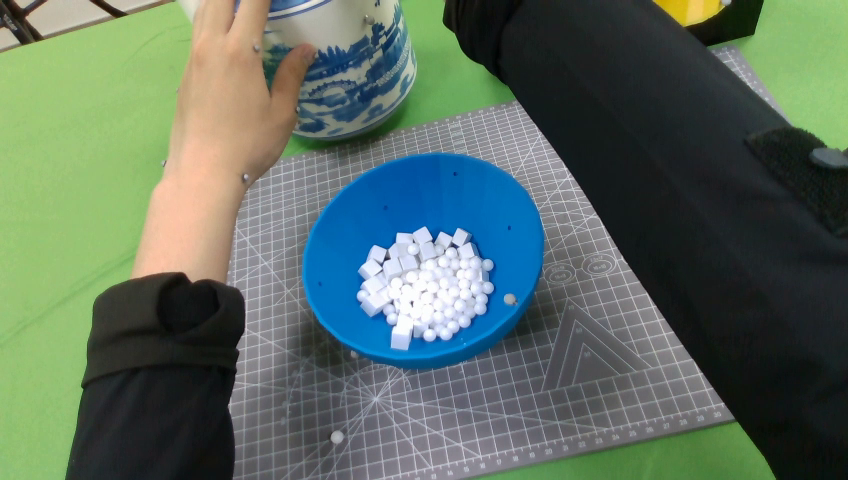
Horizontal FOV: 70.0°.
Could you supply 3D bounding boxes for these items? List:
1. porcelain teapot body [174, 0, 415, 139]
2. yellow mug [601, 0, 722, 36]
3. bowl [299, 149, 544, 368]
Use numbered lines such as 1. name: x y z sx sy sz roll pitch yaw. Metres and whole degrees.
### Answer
1. porcelain teapot body: -0.126 -0.196 0.485 0.205 0.227 0.144 -3 57 12
2. yellow mug: 0.182 -0.211 0.461 0.099 0.064 0.130 17 64 22
3. bowl: 0.003 0.023 0.396 0.151 0.077 0.150 -5 56 8
